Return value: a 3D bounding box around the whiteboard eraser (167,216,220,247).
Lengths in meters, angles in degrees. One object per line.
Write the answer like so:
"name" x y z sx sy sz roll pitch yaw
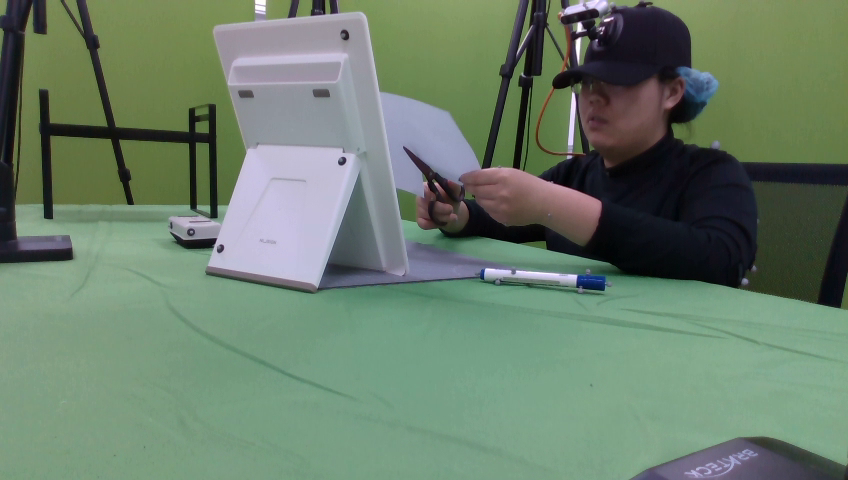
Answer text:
"whiteboard eraser" -0.350 -0.013 0.920 0.056 0.042 0.112 0 7 -35

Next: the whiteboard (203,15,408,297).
"whiteboard" -0.166 -0.072 0.668 0.216 0.305 0.144 8 30 30

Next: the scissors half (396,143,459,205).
"scissors half" 0.008 -0.109 0.987 0.012 0.040 0.176 -11 -31 35

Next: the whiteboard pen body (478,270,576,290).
"whiteboard pen body" 0.131 0.048 0.706 0.140 0.017 0.017 4 7 18

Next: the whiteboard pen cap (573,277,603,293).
"whiteboard pen cap" 0.186 0.051 0.687 0.033 0.018 0.018 5 8 17

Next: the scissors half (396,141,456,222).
"scissors half" 0.004 -0.092 0.976 0.013 0.176 0.040 -15 37 32
